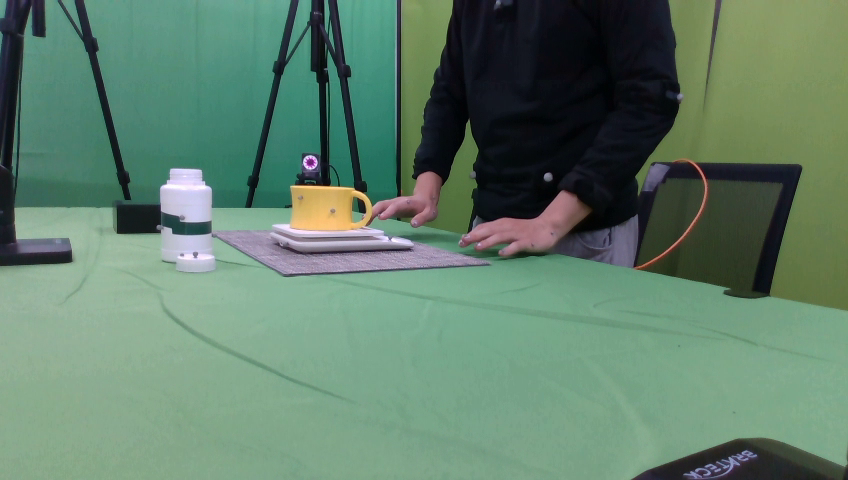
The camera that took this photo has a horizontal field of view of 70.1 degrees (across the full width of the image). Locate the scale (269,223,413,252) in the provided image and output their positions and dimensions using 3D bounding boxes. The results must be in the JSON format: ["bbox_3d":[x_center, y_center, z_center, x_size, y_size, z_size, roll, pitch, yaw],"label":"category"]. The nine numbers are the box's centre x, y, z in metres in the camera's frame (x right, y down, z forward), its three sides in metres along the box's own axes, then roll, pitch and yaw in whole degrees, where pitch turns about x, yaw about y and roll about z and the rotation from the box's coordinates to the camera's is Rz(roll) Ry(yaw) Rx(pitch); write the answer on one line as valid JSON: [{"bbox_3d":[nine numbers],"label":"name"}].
[{"bbox_3d":[-0.132,-0.007,0.965,0.202,0.031,0.148,-2,8,-31],"label":"scale"}]

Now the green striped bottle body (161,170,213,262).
[{"bbox_3d":[-0.312,-0.033,0.797,0.063,0.119,0.063,2,7,0],"label":"green striped bottle body"}]

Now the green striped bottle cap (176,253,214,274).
[{"bbox_3d":[-0.280,0.029,0.740,0.044,0.020,0.044,7,3,0],"label":"green striped bottle cap"}]

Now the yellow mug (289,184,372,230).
[{"bbox_3d":[-0.145,-0.052,0.944,0.131,0.064,0.100,4,7,9],"label":"yellow mug"}]
